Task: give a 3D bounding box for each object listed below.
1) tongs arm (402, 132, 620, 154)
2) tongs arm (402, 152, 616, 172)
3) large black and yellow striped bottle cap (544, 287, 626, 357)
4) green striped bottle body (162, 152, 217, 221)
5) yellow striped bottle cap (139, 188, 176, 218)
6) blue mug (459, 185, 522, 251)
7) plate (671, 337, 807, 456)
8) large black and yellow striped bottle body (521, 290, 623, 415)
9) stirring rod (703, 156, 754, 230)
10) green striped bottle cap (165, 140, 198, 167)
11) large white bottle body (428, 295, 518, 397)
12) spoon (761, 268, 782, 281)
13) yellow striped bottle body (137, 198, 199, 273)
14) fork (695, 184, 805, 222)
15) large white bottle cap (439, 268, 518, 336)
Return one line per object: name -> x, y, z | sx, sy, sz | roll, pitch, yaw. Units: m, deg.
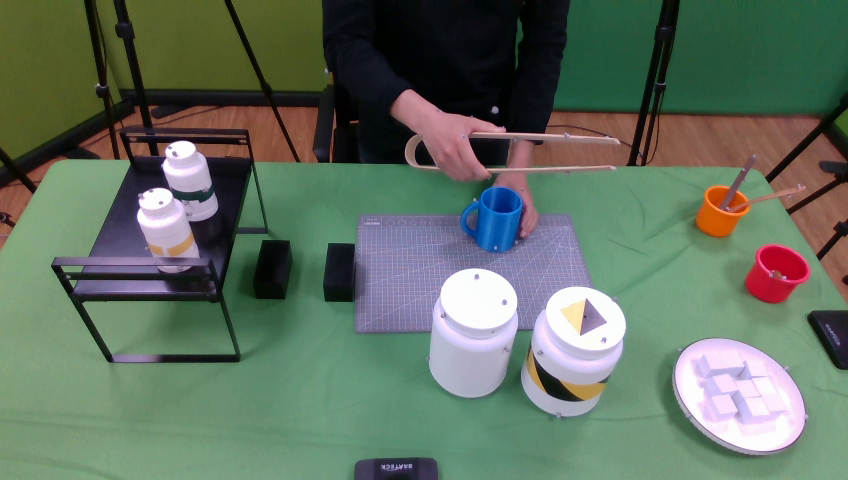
tongs arm -> 0.120, -0.149, 0.972 | 0.383, 0.051, 0.026 | 12, 5, 37
tongs arm -> 0.117, -0.123, 0.972 | 0.386, 0.028, 0.028 | 8, 6, 38
large black and yellow striped bottle cap -> 0.232, 0.116, 0.876 | 0.115, 0.019, 0.114 | 2, 46, -1
green striped bottle body -> -0.363, -0.092, 0.939 | 0.063, 0.120, 0.063 | 2, 46, -2
yellow striped bottle cap -> -0.363, -0.051, 0.826 | 0.044, 0.019, 0.044 | 1, 46, -1
blue mug -> 0.127, -0.042, 1.185 | 0.116, 0.106, 0.082 | 0, 46, -4
plate -> 0.504, 0.253, 0.984 | 0.208, 0.039, 0.206 | 2, 46, -2
large black and yellow striped bottle body -> 0.228, 0.173, 0.937 | 0.131, 0.185, 0.130 | 2, 47, -2
stirring rod -> 0.631, -0.098, 1.258 | 0.014, 0.006, 0.176 | 33, 95, 29
green striped bottle cap -> -0.361, -0.129, 0.902 | 0.044, 0.020, 0.044 | 3, 47, -3
large white bottle body -> 0.076, 0.146, 0.950 | 0.131, 0.185, 0.130 | 2, 46, -2
spoon -> 0.638, 0.060, 1.105 | 0.041, 0.021, 0.194 | 38, 11, 24
yellow striped bottle body -> -0.366, -0.014, 0.864 | 0.063, 0.121, 0.062 | 2, 46, -2
fork -> 0.657, -0.075, 1.230 | 0.207, 0.019, 0.028 | -23, 34, 37
large white bottle cap -> 0.080, 0.089, 0.888 | 0.115, 0.018, 0.114 | 2, 47, -2
